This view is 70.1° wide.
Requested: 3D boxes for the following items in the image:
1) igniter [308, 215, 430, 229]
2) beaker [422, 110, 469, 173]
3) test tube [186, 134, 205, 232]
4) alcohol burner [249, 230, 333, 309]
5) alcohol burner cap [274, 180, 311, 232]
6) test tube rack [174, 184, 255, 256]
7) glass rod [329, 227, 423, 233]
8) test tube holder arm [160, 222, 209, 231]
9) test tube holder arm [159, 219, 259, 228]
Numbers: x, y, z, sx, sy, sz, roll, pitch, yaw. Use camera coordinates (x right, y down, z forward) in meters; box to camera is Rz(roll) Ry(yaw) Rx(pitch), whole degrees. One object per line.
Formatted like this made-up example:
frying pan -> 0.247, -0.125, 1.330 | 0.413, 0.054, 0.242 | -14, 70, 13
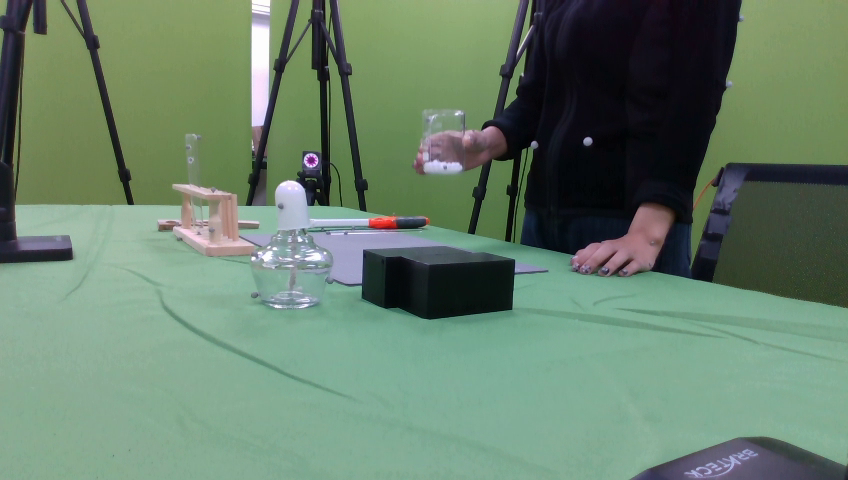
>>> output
igniter -> -0.109, -0.037, 1.228 | 0.278, 0.025, 0.057 | -3, -1, -35
beaker -> 0.032, -0.160, 0.991 | 0.074, 0.100, 0.083 | -8, 11, -41
test tube -> -0.350, -0.087, 0.928 | 0.017, 0.150, 0.017 | -3, 5, 1
alcohol burner -> -0.125, 0.004, 0.568 | 0.078, 0.119, 0.078 | 2, 10, 0
alcohol burner cap -> -0.125, -0.032, 0.564 | 0.034, 0.048, 0.034 | -5, 6, 1
test tube rack -> -0.327, -0.036, 0.928 | 0.067, 0.085, 0.241 | -2, 9, -32
glass rod -> -0.087, -0.019, 1.148 | 0.201, 0.008, 0.008 | -3, 8, -32
test tube holder arm -> -0.423, -0.024, 1.075 | 0.088, 0.015, 0.010 | -3, 44, -38
test tube holder arm -> -0.390, -0.030, 1.107 | 0.179, 0.015, 0.013 | -3, 44, -39
